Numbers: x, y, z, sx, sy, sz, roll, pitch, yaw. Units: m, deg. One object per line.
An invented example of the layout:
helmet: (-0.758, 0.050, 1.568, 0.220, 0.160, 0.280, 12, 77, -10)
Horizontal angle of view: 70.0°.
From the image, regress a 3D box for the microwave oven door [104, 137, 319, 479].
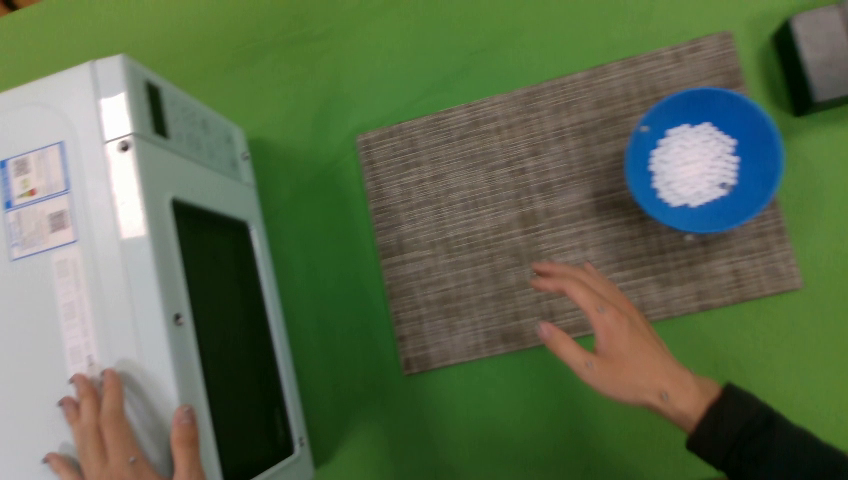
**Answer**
microwave oven door: (-0.203, 0.093, 0.616, 0.039, 0.245, 0.354, -17, 82, 8)

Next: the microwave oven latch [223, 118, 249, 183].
microwave oven latch: (-0.239, -0.107, 0.742, 0.030, 0.029, 0.079, -16, 83, 7)

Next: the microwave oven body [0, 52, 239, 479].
microwave oven body: (-0.352, 0.094, 0.646, 0.326, 0.261, 0.440, -16, 83, 7)

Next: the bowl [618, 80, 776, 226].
bowl: (0.280, -0.085, 0.647, 0.151, 0.077, 0.151, -1, 85, 10)
